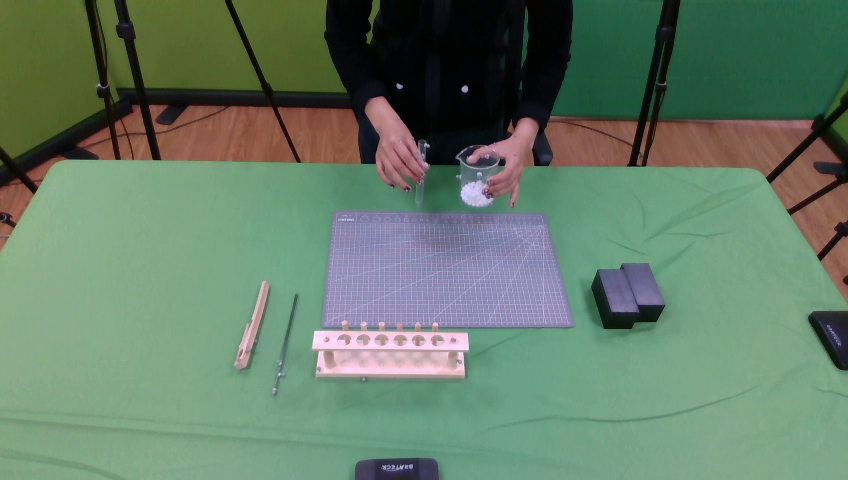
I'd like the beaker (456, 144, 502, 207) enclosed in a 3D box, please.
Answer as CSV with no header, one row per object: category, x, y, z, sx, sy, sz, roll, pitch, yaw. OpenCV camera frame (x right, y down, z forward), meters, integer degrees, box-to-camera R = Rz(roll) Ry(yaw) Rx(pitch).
beaker,0.101,-0.120,1.143,0.084,0.101,0.073,8,45,9

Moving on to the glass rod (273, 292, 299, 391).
glass rod,-0.233,0.167,1.030,0.008,0.008,0.198,3,46,0

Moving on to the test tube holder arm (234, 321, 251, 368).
test tube holder arm,-0.299,0.173,1.013,0.010,0.015,0.087,-16,42,22

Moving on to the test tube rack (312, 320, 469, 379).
test tube rack,-0.054,0.173,0.984,0.242,0.085,0.066,1,46,-3

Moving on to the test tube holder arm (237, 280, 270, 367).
test tube holder arm,-0.290,0.139,1.042,0.013,0.015,0.177,-16,42,22

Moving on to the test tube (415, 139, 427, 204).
test tube,-0.006,-0.127,1.154,0.017,0.151,0.017,2,45,-2
